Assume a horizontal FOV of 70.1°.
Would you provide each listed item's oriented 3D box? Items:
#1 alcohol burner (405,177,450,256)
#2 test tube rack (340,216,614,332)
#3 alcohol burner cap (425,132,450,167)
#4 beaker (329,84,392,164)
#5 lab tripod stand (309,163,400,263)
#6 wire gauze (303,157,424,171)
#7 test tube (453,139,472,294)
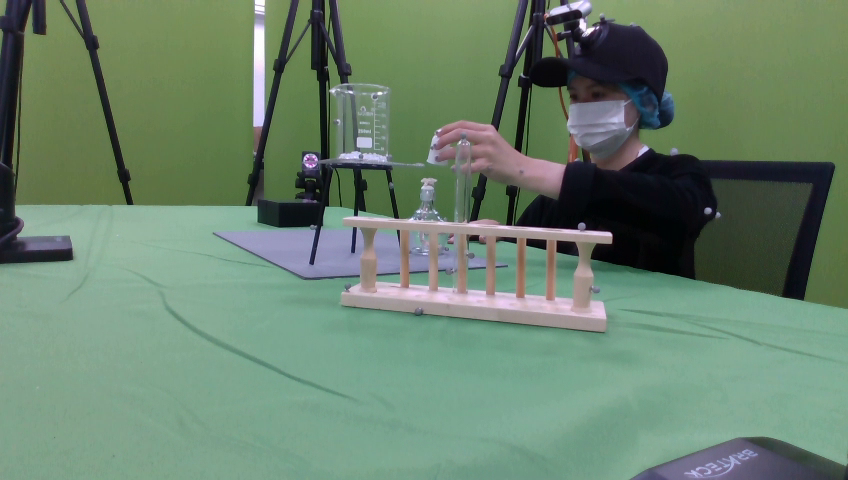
[{"bbox_3d":[0.004,-0.036,0.917,0.078,0.119,0.078,4,6,0],"label":"alcohol burner"},{"bbox_3d":[0.048,0.026,0.568,0.242,0.085,0.067,4,7,13],"label":"test tube rack"},{"bbox_3d":[0.022,-0.134,0.888,0.034,0.048,0.034,10,18,-3],"label":"alcohol burner cap"},{"bbox_3d":[-0.084,-0.149,0.794,0.084,0.100,0.073,-1,6,-23],"label":"beaker"},{"bbox_3d":[-0.091,-0.037,0.813,0.148,0.131,0.148,1,6,0],"label":"lab tripod stand"},{"bbox_3d":[-0.082,-0.101,0.799,0.126,0.011,0.121,1,7,-30],"label":"wire gauze"},{"bbox_3d":[0.037,-0.021,0.584,0.017,0.150,0.017,1,7,0],"label":"test tube"}]
